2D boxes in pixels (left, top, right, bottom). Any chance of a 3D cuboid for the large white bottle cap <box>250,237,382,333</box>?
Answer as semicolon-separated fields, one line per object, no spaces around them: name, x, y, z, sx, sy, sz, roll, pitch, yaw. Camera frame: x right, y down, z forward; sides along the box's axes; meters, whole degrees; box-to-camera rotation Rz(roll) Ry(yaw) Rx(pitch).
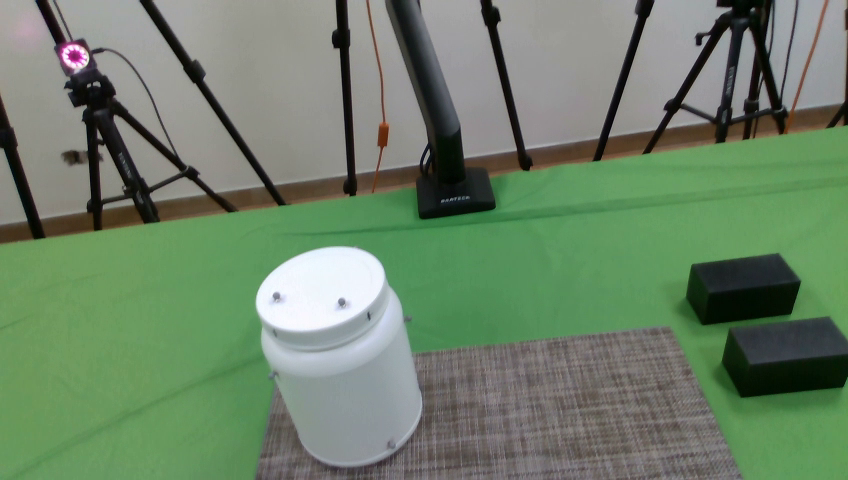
large white bottle cap;-0.095;0.037;0.534;0.115;0.018;0.113;-6;37;5

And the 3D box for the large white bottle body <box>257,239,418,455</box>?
large white bottle body;-0.082;0.103;0.585;0.130;0.186;0.129;-6;37;5
